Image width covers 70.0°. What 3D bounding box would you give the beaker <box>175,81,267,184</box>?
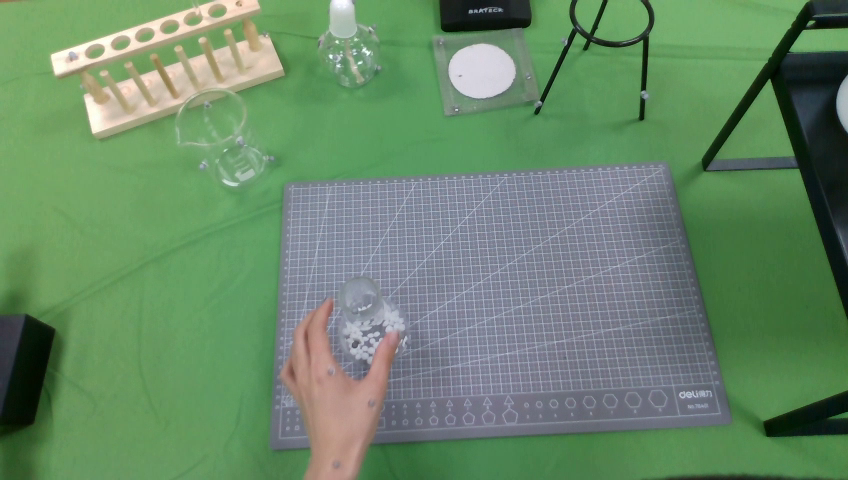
[{"bbox_3d":[-0.225,-0.114,0.679,0.073,0.101,0.084,42,73,18],"label":"beaker"}]

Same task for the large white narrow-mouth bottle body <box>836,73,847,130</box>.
[{"bbox_3d":[0.397,-0.149,0.431,0.102,0.196,0.101,0,64,1],"label":"large white narrow-mouth bottle body"}]

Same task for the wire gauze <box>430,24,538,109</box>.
[{"bbox_3d":[0.075,-0.225,0.771,0.121,0.011,0.124,-7,66,-3],"label":"wire gauze"}]

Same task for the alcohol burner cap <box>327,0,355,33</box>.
[{"bbox_3d":[-0.096,-0.266,0.697,0.034,0.048,0.033,3,65,-7],"label":"alcohol burner cap"}]

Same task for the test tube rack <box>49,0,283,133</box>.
[{"bbox_3d":[-0.305,-0.219,0.736,0.242,0.086,0.066,-22,67,-8],"label":"test tube rack"}]

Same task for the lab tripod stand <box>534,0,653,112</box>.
[{"bbox_3d":[0.203,-0.219,0.697,0.148,0.132,0.147,0,65,0],"label":"lab tripod stand"}]

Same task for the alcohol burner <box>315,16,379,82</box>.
[{"bbox_3d":[-0.094,-0.249,0.729,0.078,0.120,0.077,0,64,1],"label":"alcohol burner"}]

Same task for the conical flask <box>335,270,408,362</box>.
[{"bbox_3d":[-0.056,0.068,0.579,0.075,0.123,0.074,-1,65,2],"label":"conical flask"}]

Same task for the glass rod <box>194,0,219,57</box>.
[{"bbox_3d":[-0.260,-0.281,0.689,0.008,0.201,0.008,1,64,-3],"label":"glass rod"}]
